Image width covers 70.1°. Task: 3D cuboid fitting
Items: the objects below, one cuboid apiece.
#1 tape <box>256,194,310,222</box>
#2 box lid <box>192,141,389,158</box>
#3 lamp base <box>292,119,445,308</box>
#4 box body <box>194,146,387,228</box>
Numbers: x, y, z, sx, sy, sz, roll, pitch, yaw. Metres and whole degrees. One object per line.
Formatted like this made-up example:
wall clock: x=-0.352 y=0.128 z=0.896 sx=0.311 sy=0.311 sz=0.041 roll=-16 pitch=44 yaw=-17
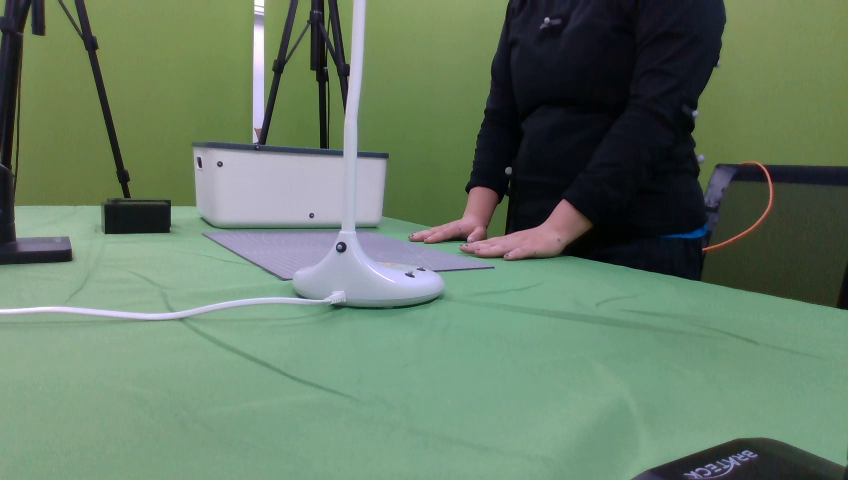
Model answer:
tape: x=-0.301 y=-0.069 z=1.294 sx=0.117 sy=0.052 sz=0.117 roll=2 pitch=7 yaw=0
box lid: x=-0.287 y=-0.190 z=1.281 sx=0.373 sy=0.015 sz=0.262 roll=0 pitch=8 yaw=-28
lamp base: x=-0.056 y=-0.030 z=0.616 sx=0.160 sy=0.180 sz=0.179 roll=3 pitch=10 yaw=8
box body: x=-0.288 y=-0.118 z=1.291 sx=0.366 sy=0.160 sz=0.253 roll=-1 pitch=8 yaw=-28
